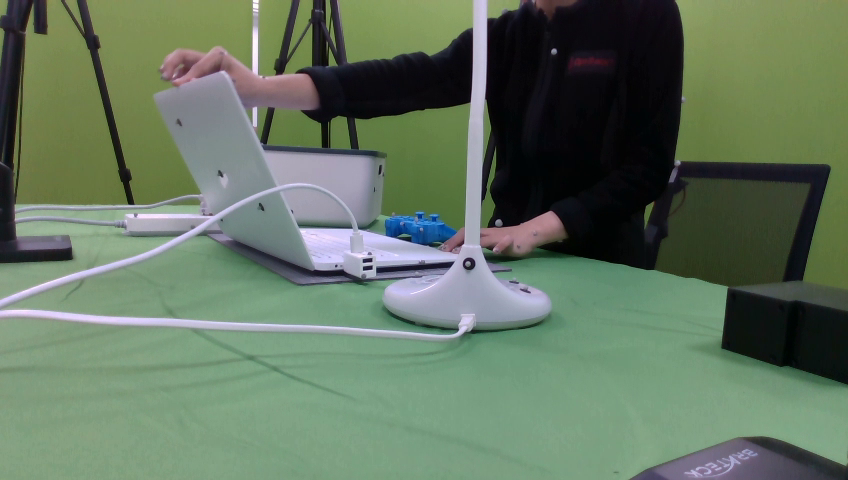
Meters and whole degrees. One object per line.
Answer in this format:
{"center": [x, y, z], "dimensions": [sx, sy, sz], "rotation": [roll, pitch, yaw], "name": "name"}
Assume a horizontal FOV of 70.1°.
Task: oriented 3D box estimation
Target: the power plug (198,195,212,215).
{"center": [-0.387, -0.055, 1.089], "dimensions": [0.035, 0.052, 0.072], "rotation": [-1, 6, -22], "name": "power plug"}

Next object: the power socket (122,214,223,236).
{"center": [-0.399, -0.028, 1.049], "dimensions": [0.228, 0.032, 0.072], "rotation": [-3, 8, -34], "name": "power socket"}

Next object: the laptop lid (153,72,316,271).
{"center": [-0.258, -0.087, 0.778], "dimensions": [0.013, 0.242, 0.355], "rotation": [-33, 26, -27], "name": "laptop lid"}

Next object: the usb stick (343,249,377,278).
{"center": [-0.076, 0.026, 0.687], "dimensions": [0.021, 0.027, 0.059], "rotation": [-8, 9, -31], "name": "usb stick"}

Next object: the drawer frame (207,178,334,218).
{"center": [-0.327, -0.093, 1.328], "dimensions": [0.213, 0.082, 0.202], "rotation": [-1, 5, 7], "name": "drawer frame"}

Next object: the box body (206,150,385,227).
{"center": [-0.276, -0.124, 1.334], "dimensions": [0.364, 0.160, 0.254], "rotation": [3, 7, 1], "name": "box body"}

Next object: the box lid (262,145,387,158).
{"center": [-0.275, -0.197, 1.326], "dimensions": [0.372, 0.015, 0.263], "rotation": [4, 8, 1], "name": "box lid"}

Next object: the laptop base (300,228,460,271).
{"center": [-0.123, 0.011, 0.889], "dimensions": [0.237, 0.023, 0.352], "rotation": [2, 6, -35], "name": "laptop base"}

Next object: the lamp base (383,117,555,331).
{"center": [0.045, -0.019, 0.547], "dimensions": [0.161, 0.180, 0.179], "rotation": [2, 10, -4], "name": "lamp base"}

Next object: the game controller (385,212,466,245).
{"center": [-0.002, -0.021, 1.074], "dimensions": [0.097, 0.051, 0.154], "rotation": [-5, 10, -31], "name": "game controller"}
